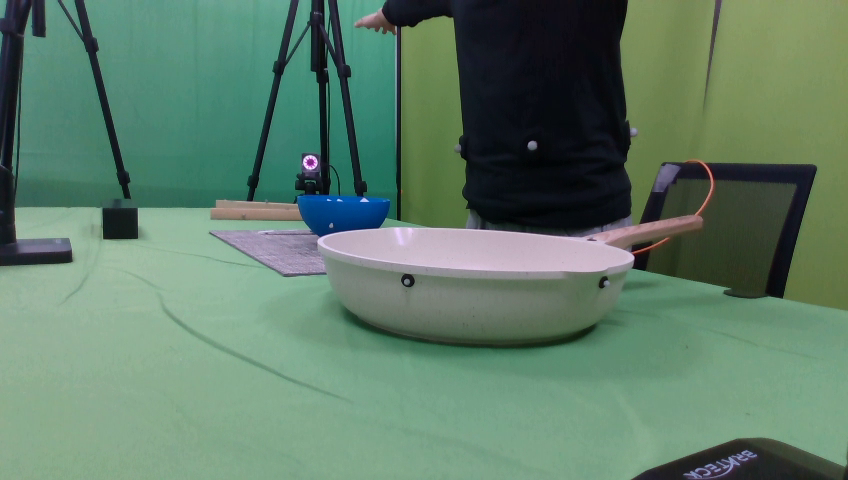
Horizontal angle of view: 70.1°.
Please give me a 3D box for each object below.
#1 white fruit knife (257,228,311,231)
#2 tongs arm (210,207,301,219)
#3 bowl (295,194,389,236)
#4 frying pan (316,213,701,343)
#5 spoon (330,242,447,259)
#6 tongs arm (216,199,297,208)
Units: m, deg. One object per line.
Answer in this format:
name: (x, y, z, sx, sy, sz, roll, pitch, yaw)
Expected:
white fruit knife: (-0.202, -0.021, 1.116, 0.208, 0.016, 0.027, -2, -1, -24)
tongs arm: (-0.287, -0.061, 1.392, 0.389, 0.028, 0.028, 0, 5, -23)
bowl: (-0.132, -0.032, 0.980, 0.151, 0.077, 0.151, 2, 7, 0)
frying pan: (0.133, 0.013, 0.629, 0.490, 0.102, 0.305, -12, 14, -30)
spoon: (-0.046, 0.011, 0.883, 0.195, 0.021, 0.041, -4, 24, -30)
tongs arm: (-0.307, -0.076, 1.470, 0.386, 0.026, 0.050, 2, 8, -11)
